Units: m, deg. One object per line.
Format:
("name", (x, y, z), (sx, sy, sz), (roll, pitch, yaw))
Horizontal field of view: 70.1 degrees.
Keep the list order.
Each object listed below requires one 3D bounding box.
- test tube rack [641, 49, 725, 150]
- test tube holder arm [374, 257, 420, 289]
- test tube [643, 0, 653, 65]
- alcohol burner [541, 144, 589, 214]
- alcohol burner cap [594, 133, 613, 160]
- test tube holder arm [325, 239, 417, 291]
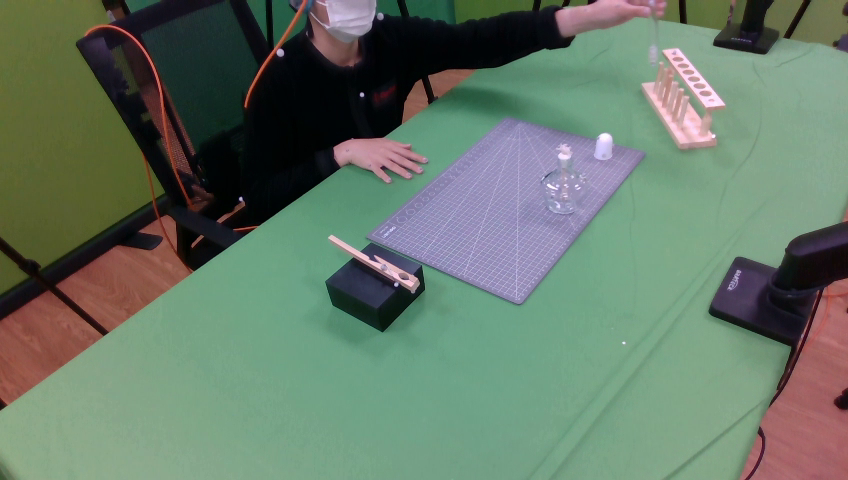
("test tube rack", (0.495, -0.279, 1.175), (0.067, 0.085, 0.241), (-5, 41, 3))
("test tube holder arm", (-0.042, 0.046, 0.854), (0.087, 0.015, 0.010), (24, 51, 33))
("test tube", (0.387, -0.375, 1.046), (0.017, 0.151, 0.017), (-10, 37, 8))
("alcohol burner", (0.229, -0.102, 0.983), (0.078, 0.119, 0.077), (-6, 41, 5))
("alcohol burner cap", (0.330, -0.172, 1.105), (0.034, 0.048, 0.033), (-5, 40, 5))
("test tube holder arm", (-0.080, 0.034, 0.875), (0.177, 0.015, 0.013), (23, 50, 32))
